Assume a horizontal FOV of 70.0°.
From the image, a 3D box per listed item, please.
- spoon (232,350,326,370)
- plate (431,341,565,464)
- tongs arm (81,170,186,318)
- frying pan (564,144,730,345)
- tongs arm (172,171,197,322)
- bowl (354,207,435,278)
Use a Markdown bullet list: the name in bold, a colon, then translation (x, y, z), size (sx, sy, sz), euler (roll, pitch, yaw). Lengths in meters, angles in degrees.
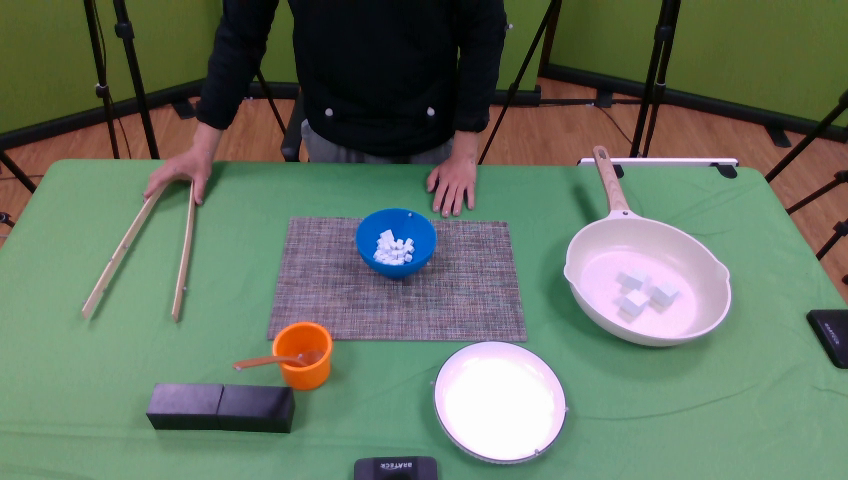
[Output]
- **spoon**: translation (-0.216, 0.182, 0.919), size (0.041, 0.194, 0.021), euler (43, 102, 27)
- **plate**: translation (0.114, 0.255, 0.952), size (0.208, 0.039, 0.206), euler (3, 46, -2)
- **tongs arm**: translation (-0.541, -0.007, 1.153), size (0.051, 0.026, 0.382), euler (5, 45, -1)
- **frying pan**: translation (0.396, -0.008, 1.179), size (0.307, 0.103, 0.484), euler (0, 55, -5)
- **tongs arm**: translation (-0.461, -0.002, 1.161), size (0.028, 0.028, 0.385), euler (-7, 47, -8)
- **bowl**: translation (-0.056, 0.018, 1.132), size (0.151, 0.077, 0.150), euler (2, 46, -2)
